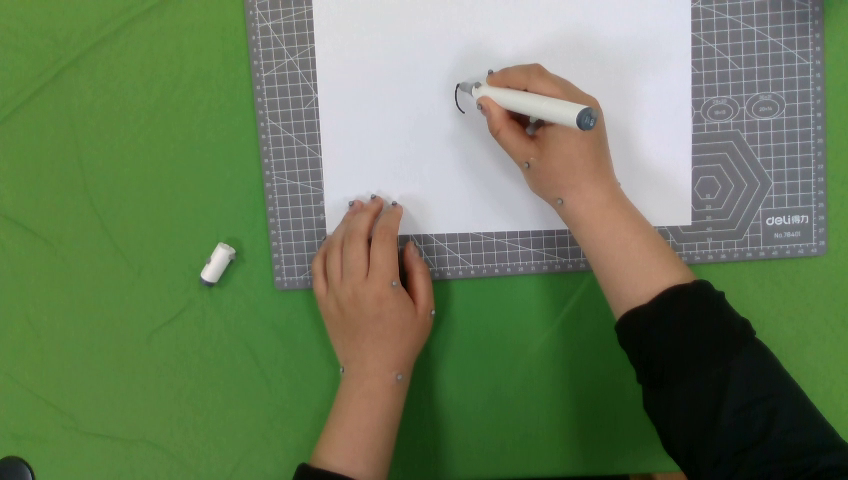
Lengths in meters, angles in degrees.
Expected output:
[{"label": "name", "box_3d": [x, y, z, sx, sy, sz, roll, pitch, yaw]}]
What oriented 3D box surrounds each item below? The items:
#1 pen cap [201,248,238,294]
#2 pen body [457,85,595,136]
[{"label": "pen cap", "box_3d": [-0.175, 0.027, 0.516, 0.017, 0.017, 0.038, 34, 97, 2]}, {"label": "pen body", "box_3d": [0.066, -0.097, 0.436, 0.017, 0.142, 0.017, -16, 119, -29]}]
